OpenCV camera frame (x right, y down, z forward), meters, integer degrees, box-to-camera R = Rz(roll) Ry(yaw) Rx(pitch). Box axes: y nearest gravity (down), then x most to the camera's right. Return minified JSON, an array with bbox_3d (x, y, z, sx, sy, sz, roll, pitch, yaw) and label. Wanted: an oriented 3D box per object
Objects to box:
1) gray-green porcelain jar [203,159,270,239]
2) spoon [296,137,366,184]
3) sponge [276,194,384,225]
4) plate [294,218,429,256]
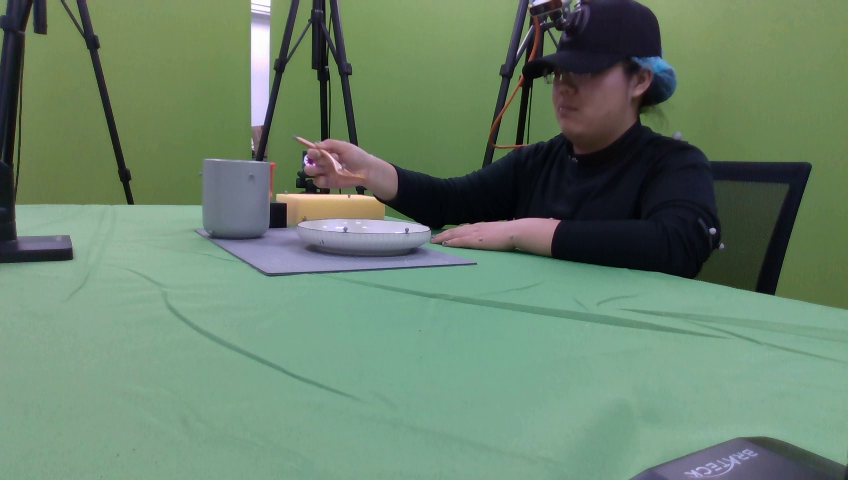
[{"bbox_3d":[-0.310,-0.068,0.999,0.106,0.126,0.106,3,8,0],"label":"gray-green porcelain jar"},{"bbox_3d":[-0.157,-0.134,0.997,0.042,0.021,0.193,5,27,-46],"label":"spoon"},{"bbox_3d":[-0.203,-0.067,1.312,0.208,0.061,0.117,-3,9,-35],"label":"sponge"},{"bbox_3d":[-0.096,-0.005,0.936,0.208,0.039,0.207,3,7,0],"label":"plate"}]
